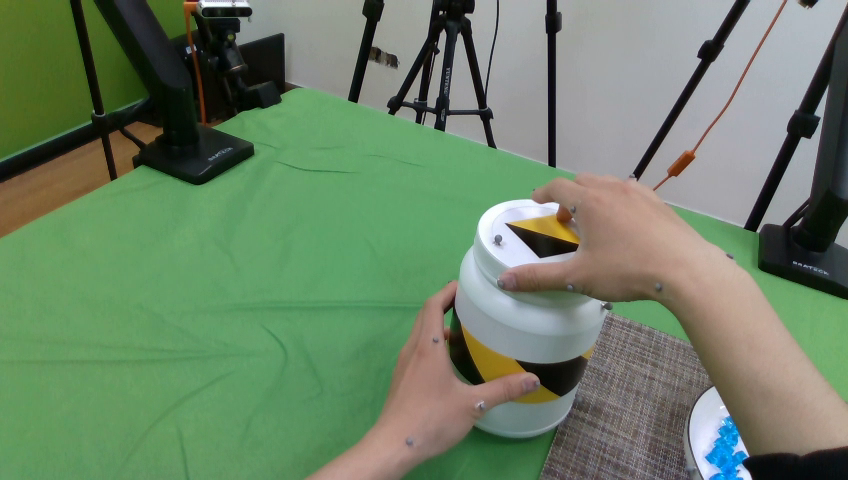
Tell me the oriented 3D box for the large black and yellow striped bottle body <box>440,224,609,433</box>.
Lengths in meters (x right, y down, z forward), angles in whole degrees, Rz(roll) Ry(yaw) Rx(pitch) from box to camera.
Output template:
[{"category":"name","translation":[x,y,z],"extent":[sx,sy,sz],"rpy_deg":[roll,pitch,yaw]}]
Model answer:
[{"category":"large black and yellow striped bottle body","translation":[0.088,0.069,0.546],"extent":[0.131,0.185,0.129],"rpy_deg":[5,37,-4]}]

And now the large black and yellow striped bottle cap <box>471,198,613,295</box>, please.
[{"category":"large black and yellow striped bottle cap","translation":[0.096,0.001,0.495],"extent":[0.115,0.019,0.114],"rpy_deg":[6,35,-4]}]

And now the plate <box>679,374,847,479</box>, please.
[{"category":"plate","translation":[0.323,0.208,0.525],"extent":[0.208,0.039,0.205],"rpy_deg":[6,37,-4]}]
